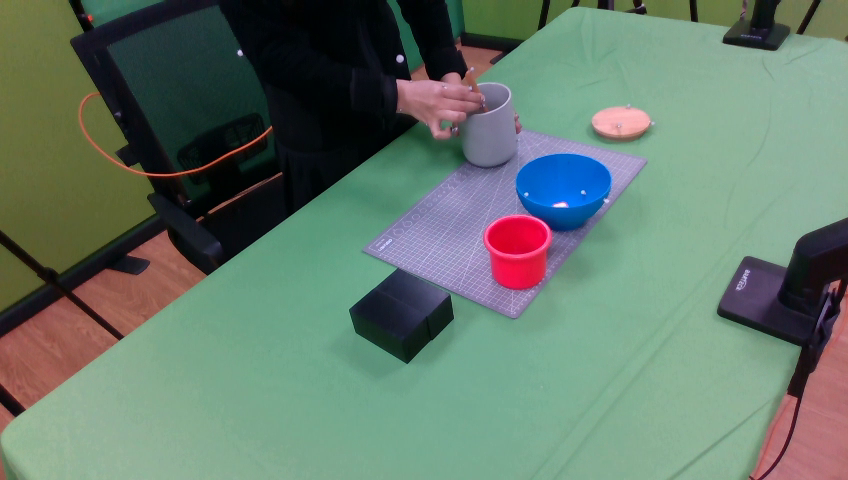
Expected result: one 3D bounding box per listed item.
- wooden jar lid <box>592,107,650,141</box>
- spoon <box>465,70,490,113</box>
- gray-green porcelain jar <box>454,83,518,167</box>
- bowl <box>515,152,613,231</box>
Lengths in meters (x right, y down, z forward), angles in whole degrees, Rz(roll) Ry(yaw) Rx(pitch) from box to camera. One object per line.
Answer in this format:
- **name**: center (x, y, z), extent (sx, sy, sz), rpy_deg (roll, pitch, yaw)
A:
- **wooden jar lid**: center (0.382, -0.225, 1.178), extent (0.108, 0.021, 0.108), rpy_deg (-5, 40, 4)
- **spoon**: center (0.109, -0.229, 1.064), extent (0.041, 0.195, 0.021), rpy_deg (-33, 48, 7)
- **gray-green porcelain jar**: center (0.117, -0.208, 1.117), extent (0.106, 0.127, 0.105), rpy_deg (-9, 44, 9)
- **bowl**: center (0.224, -0.068, 0.972), extent (0.151, 0.077, 0.150), rpy_deg (-5, 40, 5)
